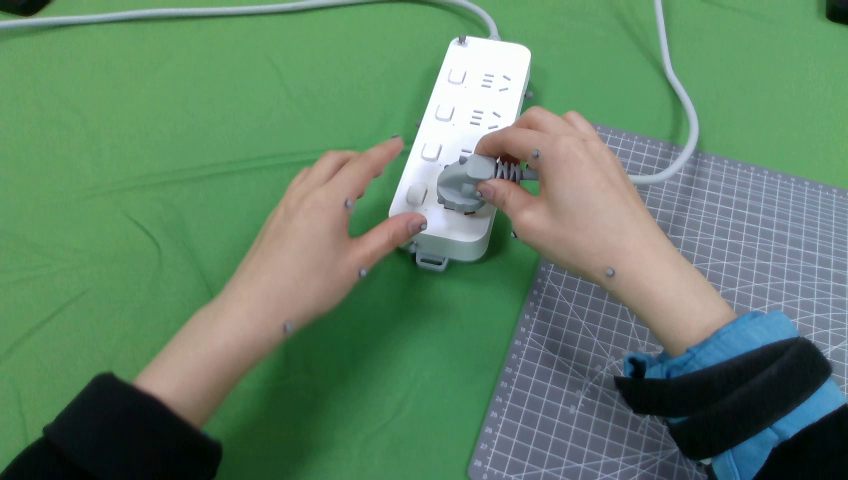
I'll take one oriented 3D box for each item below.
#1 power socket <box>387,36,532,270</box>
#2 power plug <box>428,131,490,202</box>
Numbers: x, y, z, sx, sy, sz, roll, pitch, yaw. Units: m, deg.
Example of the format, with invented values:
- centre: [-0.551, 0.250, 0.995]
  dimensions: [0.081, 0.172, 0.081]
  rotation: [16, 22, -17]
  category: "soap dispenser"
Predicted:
- centre: [0.032, -0.079, 0.469]
  dimensions: [0.072, 0.033, 0.225]
  rotation: [13, 57, 8]
  category: "power socket"
- centre: [0.026, -0.051, 0.381]
  dimensions: [0.035, 0.073, 0.052]
  rotation: [29, 79, 1]
  category: "power plug"
